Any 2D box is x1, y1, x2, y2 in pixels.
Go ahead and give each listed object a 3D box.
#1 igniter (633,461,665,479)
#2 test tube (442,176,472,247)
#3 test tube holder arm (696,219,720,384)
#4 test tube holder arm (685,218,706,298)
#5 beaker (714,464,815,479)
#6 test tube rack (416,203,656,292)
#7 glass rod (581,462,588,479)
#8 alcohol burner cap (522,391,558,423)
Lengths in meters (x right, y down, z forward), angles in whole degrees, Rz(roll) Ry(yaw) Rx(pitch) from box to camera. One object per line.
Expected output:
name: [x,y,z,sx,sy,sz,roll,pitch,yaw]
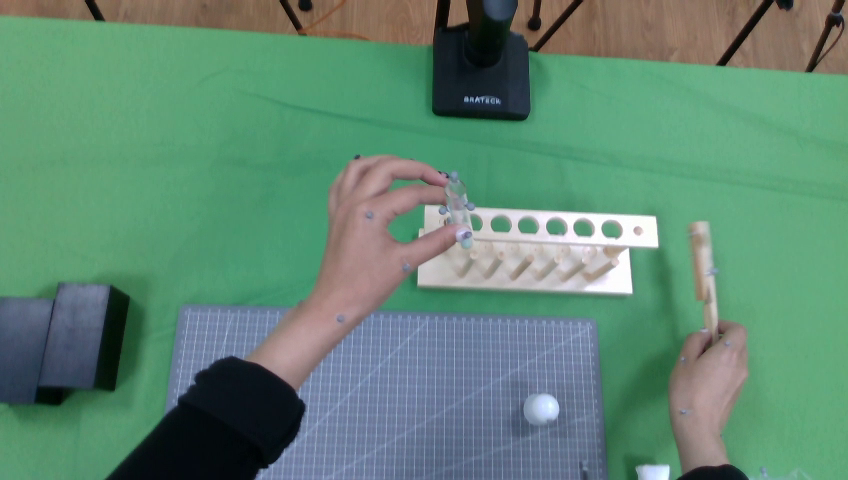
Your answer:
igniter: [0.229,0.360,0.586,0.057,0.025,0.275,6,73,-14]
test tube: [0.028,-0.018,0.482,0.017,0.151,0.017,-2,75,6]
test tube holder arm: [0.303,0.064,0.652,0.013,0.015,0.177,3,76,-16]
test tube holder arm: [0.297,0.020,0.661,0.010,0.015,0.087,2,76,-16]
beaker: [0.332,0.260,0.590,0.074,0.100,0.083,15,71,0]
test tube rack: [0.116,0.011,0.653,0.243,0.085,0.066,2,72,-5]
glass rod: [0.163,0.325,0.598,0.008,0.008,0.198,2,73,-5]
alcohol burner cap: [0.122,0.171,0.624,0.034,0.048,0.033,2,72,-5]
